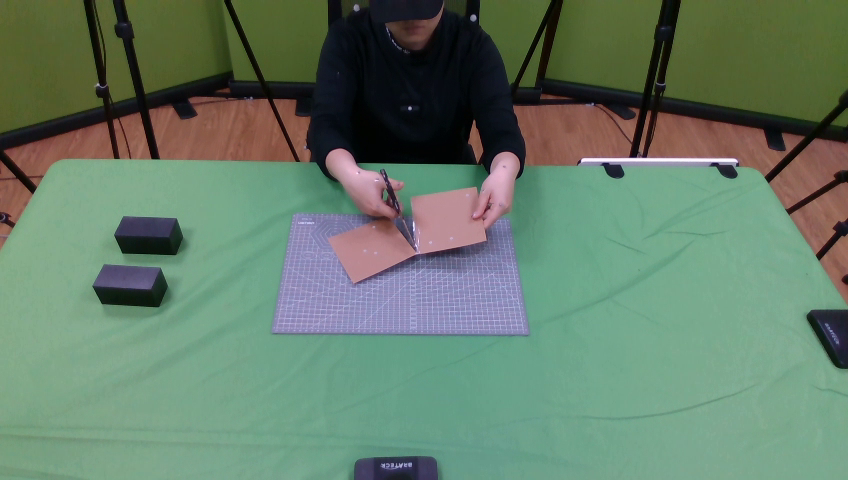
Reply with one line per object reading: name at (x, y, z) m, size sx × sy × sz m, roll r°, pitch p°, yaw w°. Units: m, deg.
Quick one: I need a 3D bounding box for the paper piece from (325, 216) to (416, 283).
paper piece at (-0.105, 0.014, 1.171) m, size 0.135 × 0.004 × 0.135 m, roll -23°, pitch 47°, yaw -16°

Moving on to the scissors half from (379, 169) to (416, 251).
scissors half at (-0.051, -0.058, 1.169) m, size 0.013 × 0.040 × 0.175 m, roll -23°, pitch 84°, yaw -1°

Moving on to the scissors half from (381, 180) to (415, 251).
scissors half at (-0.050, -0.052, 1.189) m, size 0.013 × 0.040 × 0.174 m, roll -21°, pitch 63°, yaw -6°

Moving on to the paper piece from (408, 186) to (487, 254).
paper piece at (0.044, -0.040, 1.174) m, size 0.138 × 0.009 × 0.135 m, roll -9°, pitch 61°, yaw 3°
